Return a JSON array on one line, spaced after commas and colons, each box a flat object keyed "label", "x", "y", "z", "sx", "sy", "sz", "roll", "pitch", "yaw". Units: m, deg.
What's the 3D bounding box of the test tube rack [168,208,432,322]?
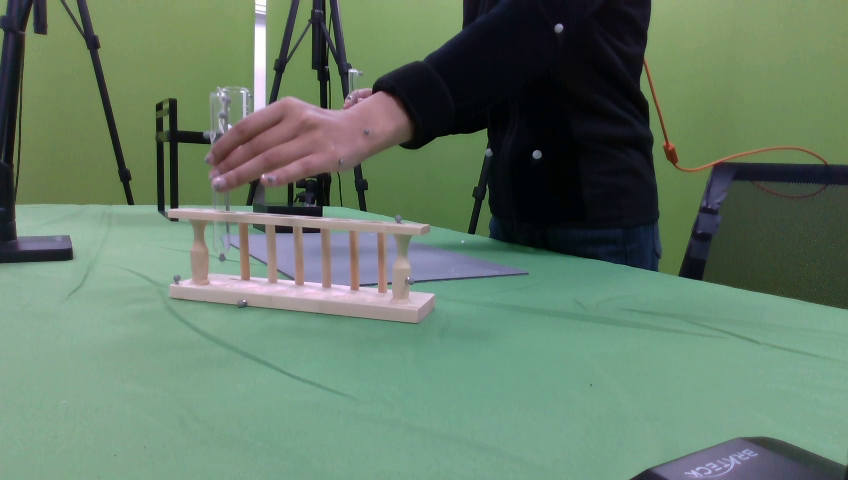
[{"label": "test tube rack", "x": -0.116, "y": 0.018, "z": 0.574, "sx": 0.242, "sy": 0.085, "sz": 0.067, "roll": 4, "pitch": 8, "yaw": 13}]

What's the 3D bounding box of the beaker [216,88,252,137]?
[{"label": "beaker", "x": -0.413, "y": -0.276, "z": 1.310, "sx": 0.074, "sy": 0.100, "sz": 0.084, "roll": 4, "pitch": 8, "yaw": 16}]

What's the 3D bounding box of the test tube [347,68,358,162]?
[{"label": "test tube", "x": -0.115, "y": -0.201, "z": 0.977, "sx": 0.017, "sy": 0.150, "sz": 0.017, "roll": 0, "pitch": 6, "yaw": 0}]

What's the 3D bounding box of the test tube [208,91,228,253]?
[{"label": "test tube", "x": -0.192, "y": -0.062, "z": 0.565, "sx": 0.017, "sy": 0.150, "sz": 0.017, "roll": 2, "pitch": 7, "yaw": 0}]
